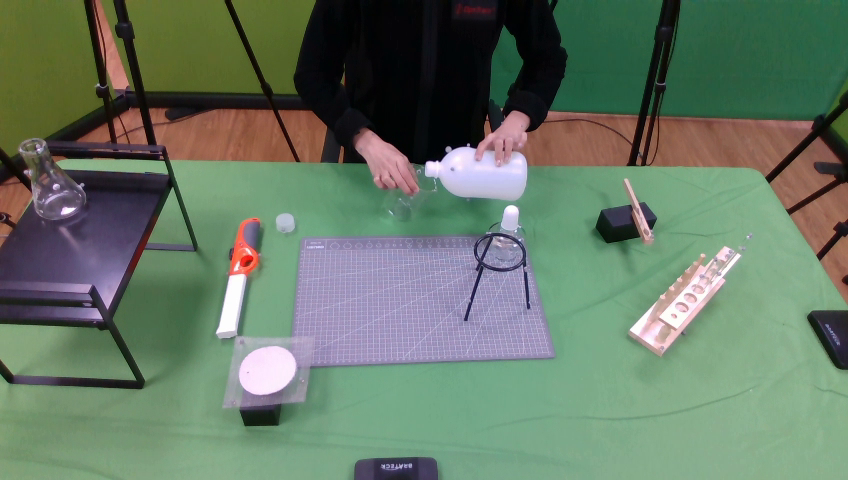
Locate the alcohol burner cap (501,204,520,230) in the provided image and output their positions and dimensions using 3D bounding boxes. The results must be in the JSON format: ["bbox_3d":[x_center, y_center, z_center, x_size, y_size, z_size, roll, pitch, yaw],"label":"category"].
[{"bbox_3d":[0.164,-0.046,1.133,0.034,0.048,0.033,2,40,-2],"label":"alcohol burner cap"}]

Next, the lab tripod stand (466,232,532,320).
[{"bbox_3d":[0.125,0.059,1.065,0.148,0.132,0.147,1,45,0],"label":"lab tripod stand"}]

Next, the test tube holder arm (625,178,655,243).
[{"bbox_3d":[0.433,-0.062,1.220,0.013,0.015,0.177,1,47,-3],"label":"test tube holder arm"}]

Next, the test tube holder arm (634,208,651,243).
[{"bbox_3d":[0.428,-0.030,1.189,0.010,0.015,0.087,1,47,-2],"label":"test tube holder arm"}]

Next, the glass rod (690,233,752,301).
[{"bbox_3d":[0.507,0.053,1.041,0.008,0.200,0.008,5,51,-6],"label":"glass rod"}]

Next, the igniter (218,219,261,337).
[{"bbox_3d":[-0.336,0.059,1.111,0.057,0.025,0.274,-8,46,3],"label":"igniter"}]

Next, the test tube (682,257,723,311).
[{"bbox_3d":[0.474,0.080,1.037,0.017,0.151,0.017,1,51,-1],"label":"test tube"}]

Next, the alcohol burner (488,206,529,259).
[{"bbox_3d":[0.163,-0.020,1.158,0.078,0.120,0.077,0,47,0],"label":"alcohol burner"}]

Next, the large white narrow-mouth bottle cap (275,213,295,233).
[{"bbox_3d":[-0.277,-0.034,1.213,0.038,0.024,0.037,3,46,-3],"label":"large white narrow-mouth bottle cap"}]

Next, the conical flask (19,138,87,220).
[{"bbox_3d":[-0.576,-0.097,0.930,0.075,0.122,0.075,2,46,-2],"label":"conical flask"}]

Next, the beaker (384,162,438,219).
[{"bbox_3d":[-0.029,-0.094,1.222,0.084,0.100,0.073,32,41,-10],"label":"beaker"}]

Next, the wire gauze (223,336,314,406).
[{"bbox_3d":[-0.236,0.197,0.931,0.121,0.011,0.124,1,46,-4],"label":"wire gauze"}]

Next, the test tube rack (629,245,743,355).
[{"bbox_3d":[0.474,0.095,1.091,0.242,0.085,0.066,-34,56,-31],"label":"test tube rack"}]

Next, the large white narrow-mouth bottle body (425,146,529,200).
[{"bbox_3d":[0.099,-0.133,1.185,0.195,0.102,0.101,4,46,-9],"label":"large white narrow-mouth bottle body"}]
